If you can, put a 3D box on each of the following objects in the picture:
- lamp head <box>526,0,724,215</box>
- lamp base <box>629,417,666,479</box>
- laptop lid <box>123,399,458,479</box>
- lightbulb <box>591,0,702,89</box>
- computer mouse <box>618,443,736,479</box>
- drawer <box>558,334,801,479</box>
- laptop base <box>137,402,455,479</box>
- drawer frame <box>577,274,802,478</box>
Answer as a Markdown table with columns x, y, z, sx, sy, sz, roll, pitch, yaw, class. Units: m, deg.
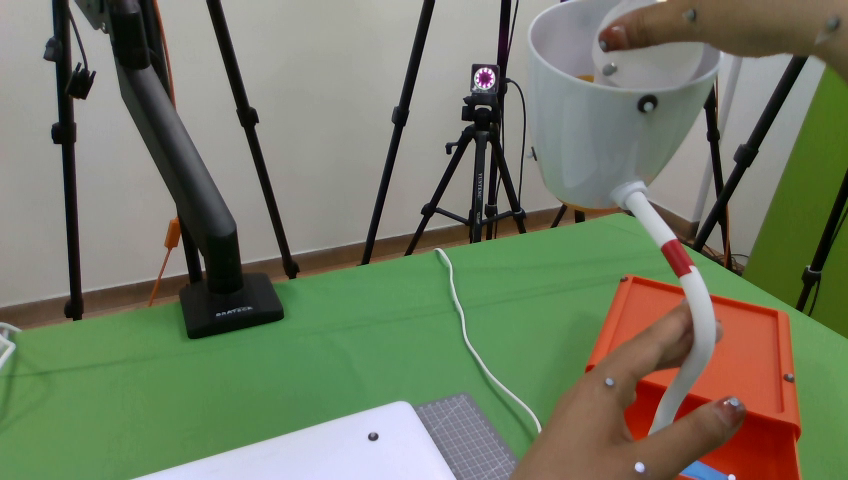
| x | y | z | sx | sy | sz | roll | pitch | yaw | class |
| --- | --- | --- | --- | --- | --- | --- | --- | --- | --- |
| 0.119 | -0.075 | 0.389 | 0.112 | 0.124 | 0.111 | -2 | 41 | 2 | lamp head |
| 0.149 | 0.222 | 0.397 | 0.161 | 0.181 | 0.177 | -1 | 24 | -9 | lamp base |
| -0.128 | 0.249 | 0.481 | 0.358 | 0.013 | 0.239 | -10 | 32 | -22 | laptop lid |
| 0.122 | -0.096 | 0.366 | 0.060 | 0.108 | 0.059 | 7 | 55 | -9 | lightbulb |
| 0.232 | 0.224 | 0.550 | 0.117 | 0.041 | 0.062 | 13 | 29 | 13 | computer mouse |
| 0.251 | 0.185 | 0.597 | 0.193 | 0.074 | 0.211 | 12 | 28 | 20 | drawer |
| -0.129 | 0.258 | 0.489 | 0.355 | 0.023 | 0.233 | -11 | 33 | -24 | laptop base |
| 0.298 | 0.137 | 0.686 | 0.200 | 0.083 | 0.213 | 13 | 29 | 21 | drawer frame |
